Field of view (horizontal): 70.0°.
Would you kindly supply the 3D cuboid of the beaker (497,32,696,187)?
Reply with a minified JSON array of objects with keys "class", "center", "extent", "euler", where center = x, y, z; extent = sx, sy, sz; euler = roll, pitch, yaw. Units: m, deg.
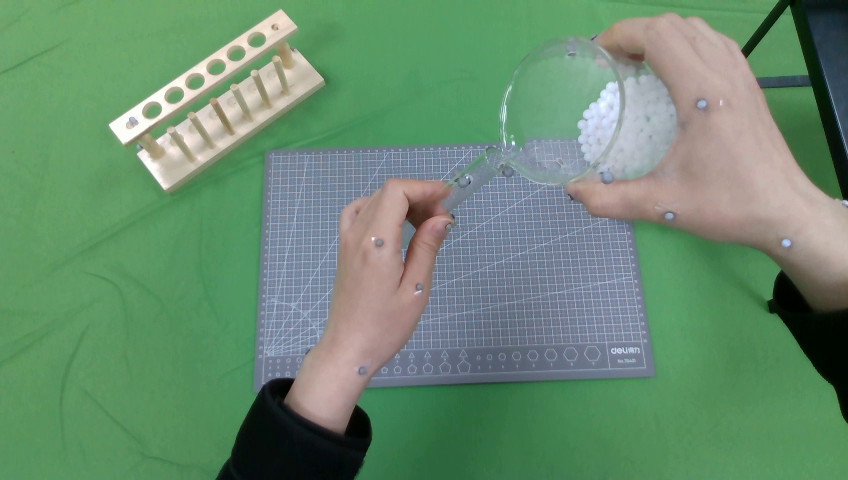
[{"class":"beaker","center":[0.100,-0.065,0.343],"extent":[0.101,0.084,0.073],"euler":[-3,67,-44]}]

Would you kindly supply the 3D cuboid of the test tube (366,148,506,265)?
[{"class":"test tube","center":[0.001,-0.016,0.393],"extent":[0.017,0.150,0.017],"euler":[16,58,-28]}]

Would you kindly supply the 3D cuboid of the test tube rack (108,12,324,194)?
[{"class":"test tube rack","center":[-0.245,-0.167,0.742],"extent":[0.242,0.085,0.066],"euler":[-39,75,-11]}]
